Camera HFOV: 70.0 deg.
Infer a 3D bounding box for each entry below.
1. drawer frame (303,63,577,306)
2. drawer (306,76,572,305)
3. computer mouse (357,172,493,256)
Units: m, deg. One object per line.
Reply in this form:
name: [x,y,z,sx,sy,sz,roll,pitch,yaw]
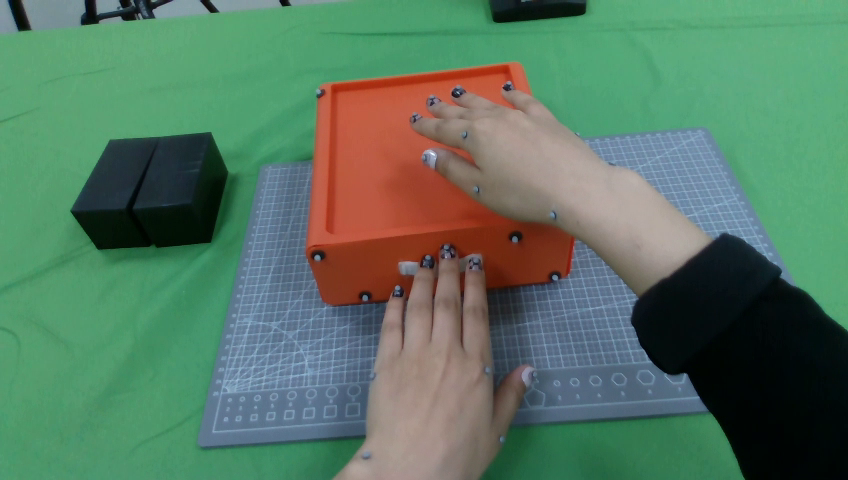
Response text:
drawer frame: [0.006,-0.055,0.527,0.202,0.083,0.211,-7,47,0]
drawer: [0.007,-0.052,0.526,0.194,0.074,0.209,-7,47,1]
computer mouse: [-0.001,-0.023,0.517,0.117,0.041,0.062,-9,50,6]
